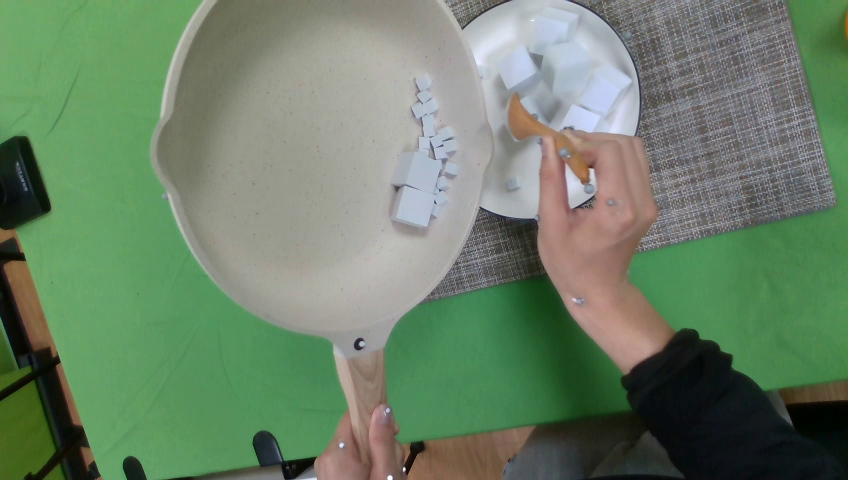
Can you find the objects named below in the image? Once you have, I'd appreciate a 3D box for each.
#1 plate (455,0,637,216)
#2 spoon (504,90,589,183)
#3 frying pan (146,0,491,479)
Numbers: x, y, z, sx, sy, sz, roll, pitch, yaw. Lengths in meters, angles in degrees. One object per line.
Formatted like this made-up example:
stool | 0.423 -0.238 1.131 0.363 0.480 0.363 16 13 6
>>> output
plate | 0.099 -0.128 0.588 0.206 0.039 0.208 4 102 23
spoon | 0.088 -0.079 0.453 0.021 0.192 0.042 -13 114 -5
frying pan | -0.060 0.031 0.490 0.102 0.308 0.488 0 97 48
